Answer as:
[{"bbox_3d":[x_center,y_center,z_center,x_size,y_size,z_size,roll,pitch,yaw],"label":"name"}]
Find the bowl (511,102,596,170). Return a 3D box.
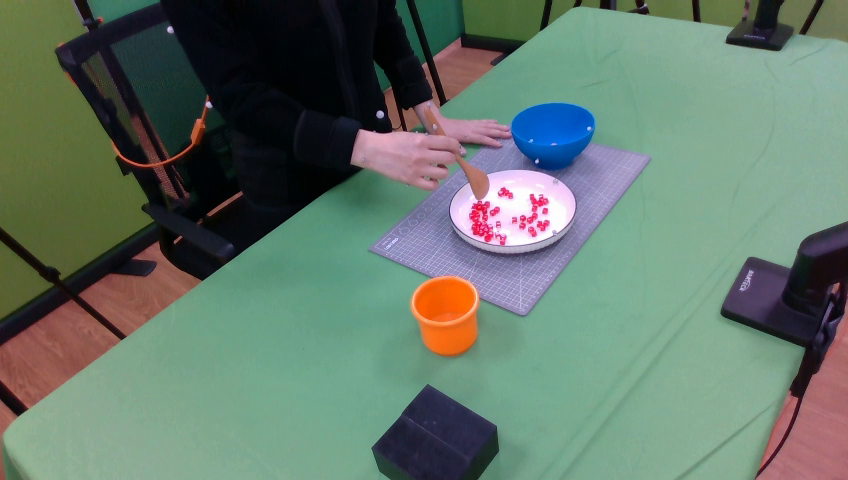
[{"bbox_3d":[0.237,-0.181,1.107,0.151,0.077,0.150,-6,40,5],"label":"bowl"}]

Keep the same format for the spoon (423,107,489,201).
[{"bbox_3d":[0.049,-0.125,0.896,0.021,0.195,0.041,13,64,48],"label":"spoon"}]

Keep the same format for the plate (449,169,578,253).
[{"bbox_3d":[0.146,-0.044,0.993,0.209,0.038,0.208,-5,40,5],"label":"plate"}]
